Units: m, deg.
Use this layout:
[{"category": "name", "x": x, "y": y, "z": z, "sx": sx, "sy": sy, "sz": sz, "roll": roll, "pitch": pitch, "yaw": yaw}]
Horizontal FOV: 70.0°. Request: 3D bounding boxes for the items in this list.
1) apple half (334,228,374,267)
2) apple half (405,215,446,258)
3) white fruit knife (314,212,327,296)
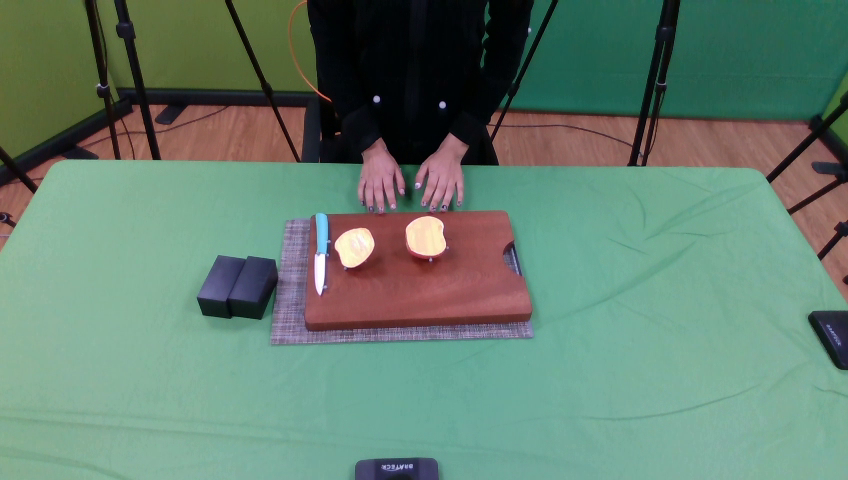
[{"category": "apple half", "x": -0.123, "y": 0.017, "z": 1.120, "sx": 0.081, "sy": 0.033, "sz": 0.081, "roll": -8, "pitch": 61, "yaw": 15}, {"category": "apple half", "x": 0.001, "y": -0.001, "z": 1.135, "sx": 0.075, "sy": 0.053, "sz": 0.080, "roll": -8, "pitch": 72, "yaw": -12}, {"category": "white fruit knife", "x": -0.193, "y": 0.022, "z": 1.128, "sx": 0.027, "sy": 0.016, "sz": 0.206, "roll": -22, "pitch": 47, "yaw": 15}]
